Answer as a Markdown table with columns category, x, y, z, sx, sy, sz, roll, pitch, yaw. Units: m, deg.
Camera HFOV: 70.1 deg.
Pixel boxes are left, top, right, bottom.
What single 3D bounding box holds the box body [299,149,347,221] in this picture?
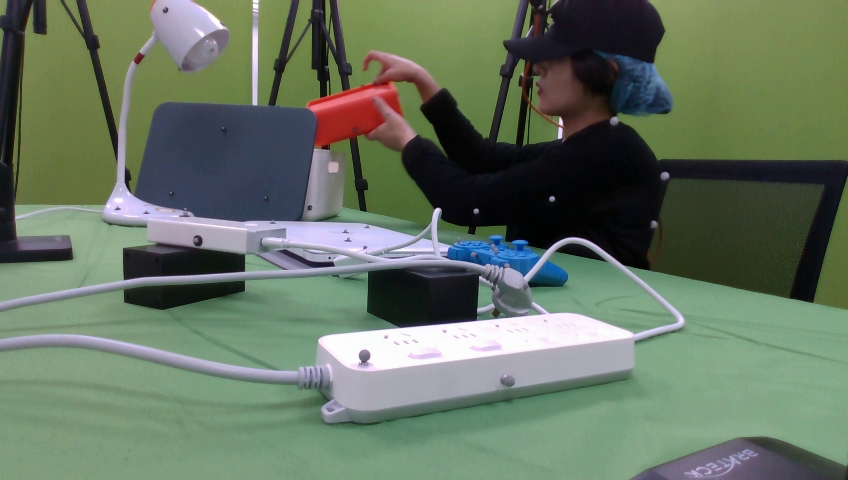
| category | x | y | z | sx | sy | sz | roll | pitch | yaw |
| --- | --- | --- | --- | --- | --- | --- | --- | --- | --- |
| box body | -0.384 | -0.137 | 1.407 | 0.364 | 0.160 | 0.254 | 3 | 8 | 7 |

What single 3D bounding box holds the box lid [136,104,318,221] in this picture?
| category | x | y | z | sx | sy | sz | roll | pitch | yaw |
| --- | --- | --- | --- | --- | --- | --- | --- | --- | --- |
| box lid | -0.411 | -0.162 | 1.266 | 0.371 | 0.263 | 0.015 | 3 | -15 | 9 |

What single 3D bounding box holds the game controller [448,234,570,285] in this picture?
| category | x | y | z | sx | sy | sz | roll | pitch | yaw |
| --- | --- | --- | --- | --- | --- | --- | --- | --- | --- |
| game controller | 0.099 | 0.021 | 0.756 | 0.097 | 0.051 | 0.154 | -7 | 10 | -29 |

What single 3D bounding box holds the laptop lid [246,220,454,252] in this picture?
| category | x | y | z | sx | sy | sz | roll | pitch | yaw |
| --- | --- | --- | --- | --- | --- | --- | --- | --- | --- |
| laptop lid | -0.123 | -0.009 | 0.945 | 0.243 | 0.013 | 0.355 | 1 | 7 | -29 |

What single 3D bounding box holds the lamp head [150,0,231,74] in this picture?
| category | x | y | z | sx | sy | sz | roll | pitch | yaw |
| --- | --- | --- | --- | --- | --- | --- | --- | --- | --- |
| lamp head | -0.432 | -0.374 | 1.086 | 0.123 | 0.112 | 0.112 | 42 | 8 | -3 |

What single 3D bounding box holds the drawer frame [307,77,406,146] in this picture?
| category | x | y | z | sx | sy | sz | roll | pitch | yaw |
| --- | --- | --- | --- | --- | --- | --- | --- | --- | --- |
| drawer frame | -0.156 | -0.301 | 1.396 | 0.214 | 0.083 | 0.201 | -18 | 22 | -1 |

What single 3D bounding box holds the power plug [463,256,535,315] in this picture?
| category | x | y | z | sx | sy | sz | roll | pitch | yaw |
| --- | --- | --- | --- | --- | --- | --- | --- | --- | --- |
| power plug | 0.064 | 0.039 | 0.530 | 0.072 | 0.052 | 0.035 | 31 | 43 | 7 |

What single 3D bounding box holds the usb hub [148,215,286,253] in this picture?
| category | x | y | z | sx | sy | sz | roll | pitch | yaw |
| --- | --- | --- | --- | --- | --- | --- | --- | --- | --- |
| usb hub | -0.197 | -0.006 | 0.575 | 0.125 | 0.025 | 0.050 | 6 | 6 | 22 |

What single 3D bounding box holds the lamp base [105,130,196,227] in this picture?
| category | x | y | z | sx | sy | sz | roll | pitch | yaw |
| --- | --- | --- | --- | --- | --- | --- | --- | --- | --- |
| lamp base | -0.532 | -0.120 | 1.153 | 0.179 | 0.180 | 0.161 | 1 | 7 | 8 |

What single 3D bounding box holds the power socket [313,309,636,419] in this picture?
| category | x | y | z | sx | sy | sz | roll | pitch | yaw |
| --- | --- | --- | --- | --- | --- | --- | --- | --- | --- |
| power socket | 0.039 | 0.072 | 0.385 | 0.228 | 0.032 | 0.072 | -2 | 7 | -28 |

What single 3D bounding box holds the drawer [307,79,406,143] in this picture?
| category | x | y | z | sx | sy | sz | roll | pitch | yaw |
| --- | --- | --- | --- | --- | --- | --- | --- | --- | --- |
| drawer | -0.154 | -0.300 | 1.397 | 0.212 | 0.073 | 0.194 | -17 | 23 | -1 |

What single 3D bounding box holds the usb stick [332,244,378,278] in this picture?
| category | x | y | z | sx | sy | sz | roll | pitch | yaw |
| --- | --- | --- | --- | --- | --- | --- | --- | --- | --- |
| usb stick | -0.085 | 0.026 | 0.701 | 0.059 | 0.027 | 0.021 | -18 | 18 | 27 |

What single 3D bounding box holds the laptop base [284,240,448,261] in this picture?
| category | x | y | z | sx | sy | sz | roll | pitch | yaw |
| --- | --- | --- | --- | --- | --- | --- | --- | --- | --- |
| laptop base | -0.125 | 0.002 | 0.945 | 0.237 | 0.023 | 0.352 | 2 | 6 | -31 |
